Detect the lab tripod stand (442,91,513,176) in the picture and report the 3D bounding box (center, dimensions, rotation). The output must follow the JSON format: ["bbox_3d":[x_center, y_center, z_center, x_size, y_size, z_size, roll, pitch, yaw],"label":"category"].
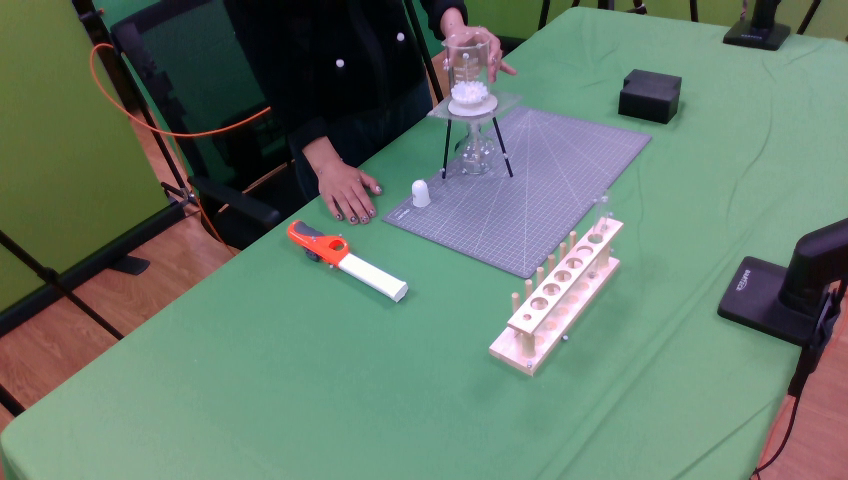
[{"bbox_3d":[0.096,-0.190,1.096,0.148,0.132,0.147,-4,40,4],"label":"lab tripod stand"}]

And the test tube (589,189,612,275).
[{"bbox_3d":[0.238,-0.006,0.818,0.017,0.151,0.017,-3,43,4],"label":"test tube"}]

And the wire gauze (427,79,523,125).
[{"bbox_3d":[0.088,-0.239,1.050,0.120,0.011,0.125,22,50,30],"label":"wire gauze"}]

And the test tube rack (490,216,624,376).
[{"bbox_3d":[0.184,0.064,0.822,0.066,0.085,0.243,24,50,33],"label":"test tube rack"}]

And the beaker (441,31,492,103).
[{"bbox_3d":[0.072,-0.288,1.015,0.083,0.100,0.074,6,39,16],"label":"beaker"}]

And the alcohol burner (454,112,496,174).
[{"bbox_3d":[0.092,-0.181,1.102,0.078,0.119,0.077,-5,42,5],"label":"alcohol burner"}]

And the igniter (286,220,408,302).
[{"bbox_3d":[-0.134,0.028,0.969,0.274,0.025,0.057,26,61,35],"label":"igniter"}]

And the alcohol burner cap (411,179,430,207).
[{"bbox_3d":[-0.008,-0.085,1.063,0.034,0.048,0.033,-5,40,4],"label":"alcohol burner cap"}]
